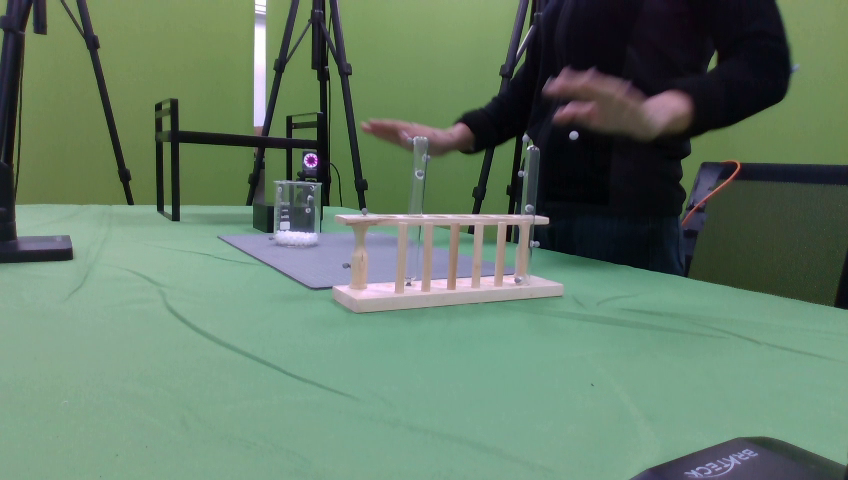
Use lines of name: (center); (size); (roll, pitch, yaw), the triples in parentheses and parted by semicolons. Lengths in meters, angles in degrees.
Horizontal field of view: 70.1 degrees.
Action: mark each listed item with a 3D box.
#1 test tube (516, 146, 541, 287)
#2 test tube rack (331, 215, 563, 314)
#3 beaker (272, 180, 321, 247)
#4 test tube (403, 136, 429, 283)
test tube: (0.110, -0.024, 0.638); (0.017, 0.150, 0.017); (4, 6, 0)
test tube rack: (0.031, 0.019, 0.626); (0.243, 0.085, 0.066); (-1, 8, -28)
beaker: (-0.197, -0.042, 0.944); (0.073, 0.100, 0.084); (7, 8, 29)
test tube: (-0.009, -0.031, 0.617); (0.017, 0.150, 0.017); (5, 2, 0)
